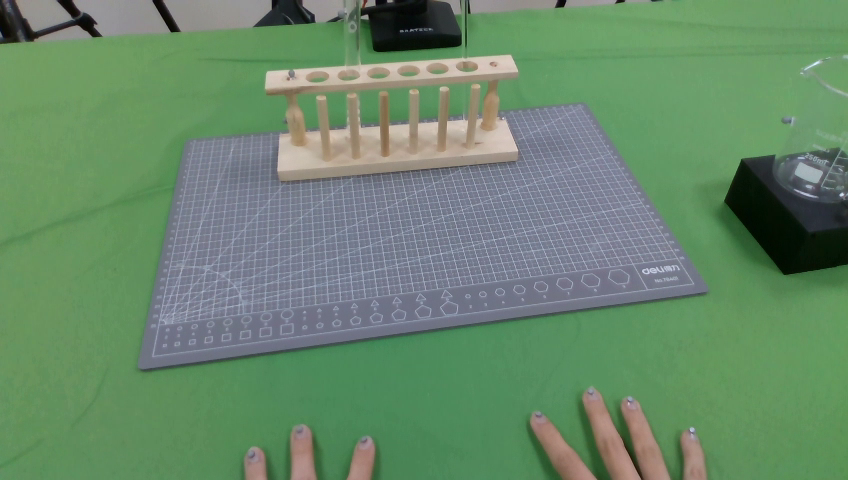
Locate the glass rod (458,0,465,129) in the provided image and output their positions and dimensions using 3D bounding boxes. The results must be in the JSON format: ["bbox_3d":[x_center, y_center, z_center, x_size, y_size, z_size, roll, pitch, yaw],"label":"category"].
[{"bbox_3d":[0.036,-0.199,0.588,0.008,0.201,0.008,-2,38,2],"label":"glass rod"}]

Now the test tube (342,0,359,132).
[{"bbox_3d":[-0.070,-0.167,0.580,0.017,0.151,0.017,3,44,-3],"label":"test tube"}]

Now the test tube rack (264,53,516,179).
[{"bbox_3d":[-0.030,-0.124,0.606,0.243,0.086,0.066,-6,45,-6],"label":"test tube rack"}]

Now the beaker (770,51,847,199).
[{"bbox_3d":[0.332,-0.091,0.491,0.083,0.101,0.074,24,49,25],"label":"beaker"}]
